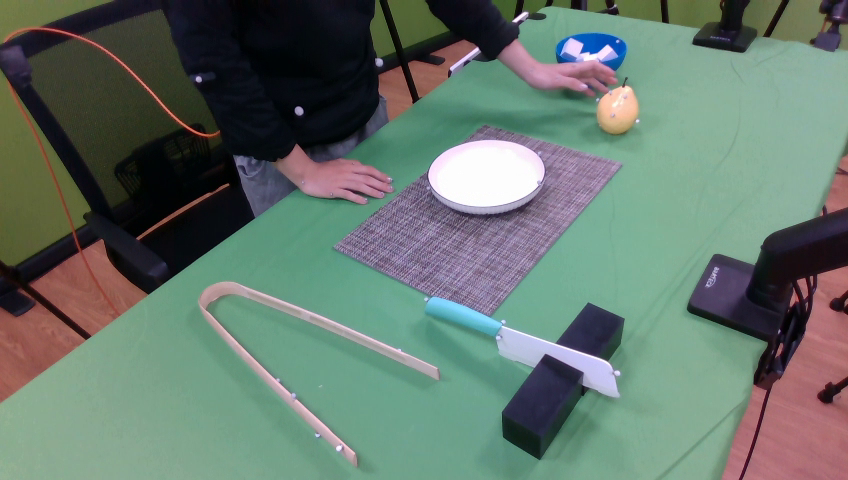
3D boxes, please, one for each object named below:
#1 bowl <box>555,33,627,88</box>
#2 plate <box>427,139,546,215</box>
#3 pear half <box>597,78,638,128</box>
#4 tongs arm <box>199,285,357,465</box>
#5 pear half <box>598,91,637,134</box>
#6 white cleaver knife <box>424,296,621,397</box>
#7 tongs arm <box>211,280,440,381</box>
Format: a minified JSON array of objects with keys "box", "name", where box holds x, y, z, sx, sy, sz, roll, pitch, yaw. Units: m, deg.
[{"box":[0.360,-0.384,1.317,0.151,0.077,0.150,-4,40,4],"name":"bowl"},{"box":[0.109,-0.106,1.058,0.207,0.039,0.206,-4,40,4],"name":"plate"},{"box":[0.374,-0.266,1.155,0.076,0.110,0.056,10,44,4],"name":"pear half"},{"box":[-0.199,0.162,0.797,0.381,0.026,0.051,28,50,35],"name":"tongs arm"},{"box":[0.366,-0.235,1.137,0.070,0.088,0.031,10,43,5],"name":"pear half"},{"box":[0.110,0.132,0.761,0.284,0.066,0.021,17,42,39],"name":"white cleaver knife"},{"box":[-0.148,0.121,0.845,0.385,0.028,0.028,17,48,25],"name":"tongs arm"}]
